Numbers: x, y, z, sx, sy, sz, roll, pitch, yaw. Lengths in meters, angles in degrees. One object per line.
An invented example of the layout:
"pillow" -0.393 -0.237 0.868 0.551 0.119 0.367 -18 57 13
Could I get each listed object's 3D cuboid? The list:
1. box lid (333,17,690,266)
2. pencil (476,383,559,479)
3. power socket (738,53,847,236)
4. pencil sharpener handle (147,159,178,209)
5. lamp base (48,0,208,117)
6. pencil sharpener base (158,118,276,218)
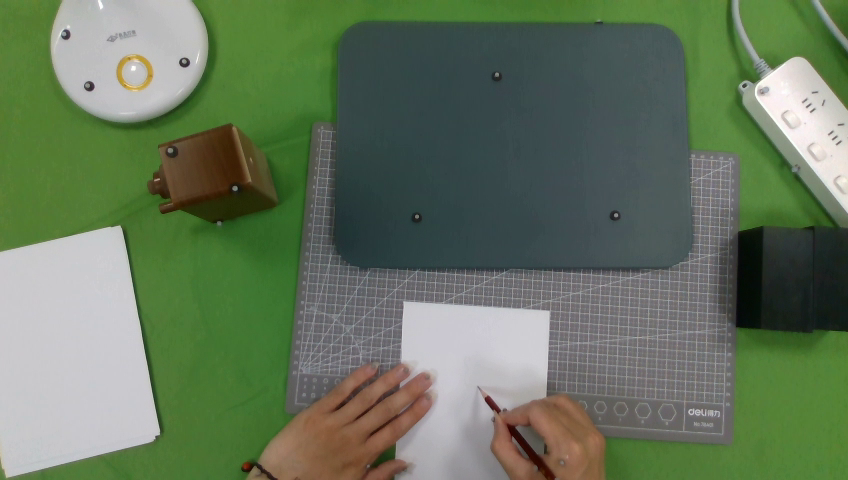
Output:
"box lid" 0.093 -0.104 0.632 0.372 0.015 0.262 0 84 -1
"pencil" 0.093 0.185 0.533 0.012 0.192 0.012 -13 121 -22
"power socket" 0.421 -0.093 0.627 0.072 0.032 0.226 -36 86 -4
"pencil sharpener handle" -0.242 -0.047 0.561 0.030 0.068 0.035 -17 72 -2
"lamp base" -0.310 -0.224 0.552 0.160 0.180 0.178 -27 83 -3
"pencil sharpener base" -0.194 -0.064 0.576 0.077 0.107 0.061 -17 85 -2
